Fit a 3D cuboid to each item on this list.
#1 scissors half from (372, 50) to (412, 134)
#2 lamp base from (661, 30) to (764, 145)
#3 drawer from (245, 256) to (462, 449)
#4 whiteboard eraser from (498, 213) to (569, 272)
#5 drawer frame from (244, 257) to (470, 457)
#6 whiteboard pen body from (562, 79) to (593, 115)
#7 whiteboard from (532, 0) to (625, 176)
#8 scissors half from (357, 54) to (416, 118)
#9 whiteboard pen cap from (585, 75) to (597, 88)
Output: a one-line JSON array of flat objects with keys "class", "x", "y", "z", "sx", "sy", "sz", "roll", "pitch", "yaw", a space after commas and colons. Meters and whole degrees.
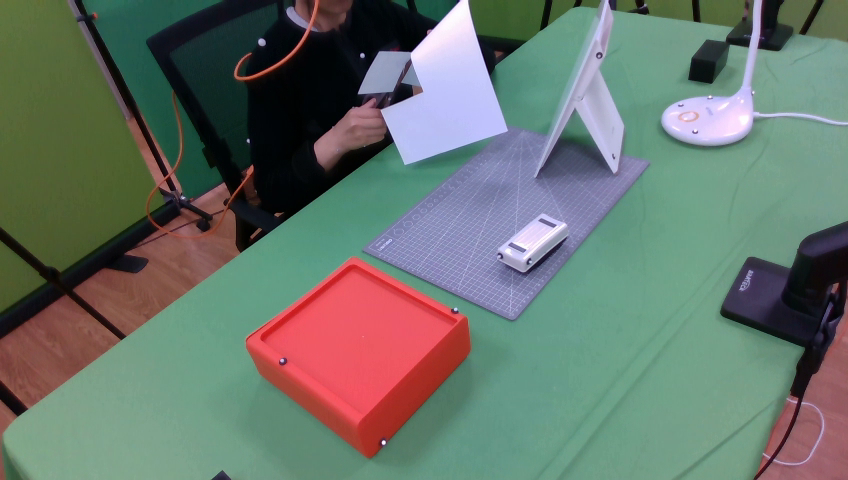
[{"class": "scissors half", "x": -0.057, "y": -0.277, "z": 1.142, "sx": 0.040, "sy": 0.175, "sz": 0.013, "roll": 32, "pitch": 31, "yaw": 12}, {"class": "lamp base", "x": 0.535, "y": -0.287, "z": 1.096, "sx": 0.179, "sy": 0.181, "sz": 0.159, "roll": -10, "pitch": 40, "yaw": -4}, {"class": "drawer", "x": -0.089, "y": 0.136, "z": 0.792, "sx": 0.210, "sy": 0.073, "sz": 0.195, "roll": 26, "pitch": 51, "yaw": 34}, {"class": "whiteboard eraser", "x": 0.168, "y": 0.006, "z": 0.923, "sx": 0.113, "sy": 0.042, "sz": 0.055, "roll": -36, "pitch": 48, "yaw": -28}, {"class": "drawer frame", "x": -0.084, "y": 0.138, "z": 0.788, "sx": 0.212, "sy": 0.083, "sz": 0.202, "roll": 25, "pitch": 50, "yaw": 33}, {"class": "whiteboard pen body", "x": 0.328, "y": -0.306, "z": 1.278, "sx": 0.017, "sy": 0.017, "sz": 0.141, "roll": 20, "pitch": 52, "yaw": 30}, {"class": "whiteboard", "x": 0.320, "y": -0.259, "z": 1.050, "sx": 0.144, "sy": 0.306, "sz": 0.217, "roll": 21, "pitch": 45, "yaw": 5}, {"class": "scissors half", "x": -0.072, "y": -0.292, "z": 1.145, "sx": 0.174, "sy": 0.040, "sz": 0.013, "roll": -35, "pitch": -3, "yaw": 34}, {"class": "whiteboard pen cap", "x": 0.362, "y": -0.343, "z": 1.310, "sx": 0.018, "sy": 0.018, "sz": 0.033, "roll": 20, "pitch": 54, "yaw": 30}]
